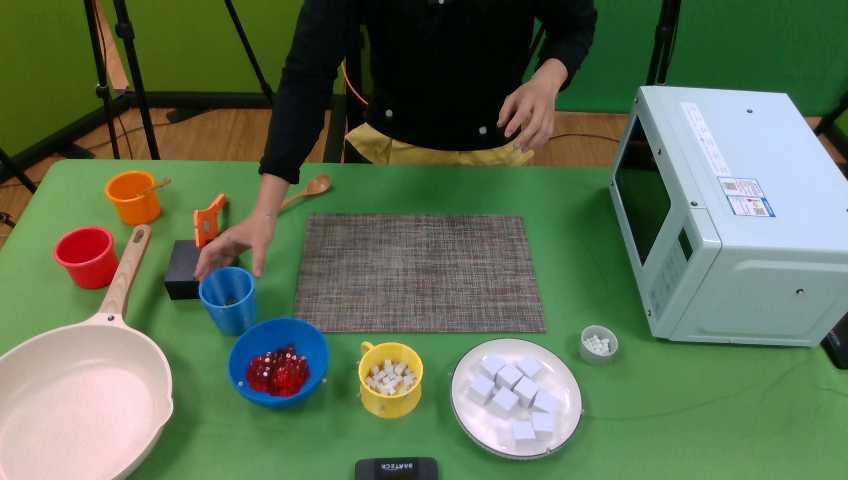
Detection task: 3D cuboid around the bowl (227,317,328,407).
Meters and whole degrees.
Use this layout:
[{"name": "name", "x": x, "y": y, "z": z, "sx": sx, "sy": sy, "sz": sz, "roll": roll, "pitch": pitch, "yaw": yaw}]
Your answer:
[{"name": "bowl", "x": -0.222, "y": 0.203, "z": 0.947, "sx": 0.151, "sy": 0.077, "sz": 0.150, "roll": 2, "pitch": 46, "yaw": -2}]

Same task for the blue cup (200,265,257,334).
[{"name": "blue cup", "x": -0.319, "y": 0.106, "z": 1.014, "sx": 0.093, "sy": 0.101, "sz": 0.092, "roll": 1, "pitch": 50, "yaw": -2}]

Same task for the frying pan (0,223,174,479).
[{"name": "frying pan", "x": -0.505, "y": 0.169, "z": 0.941, "sx": 0.307, "sy": 0.103, "sz": 0.485, "roll": 5, "pitch": 54, "yaw": -1}]

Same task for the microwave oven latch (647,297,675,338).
[{"name": "microwave oven latch", "x": 0.413, "y": 0.133, "z": 1.060, "sx": 0.030, "sy": 0.029, "sz": 0.078, "roll": 5, "pitch": 46, "yaw": 2}]

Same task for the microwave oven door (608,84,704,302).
[{"name": "microwave oven door", "x": 0.424, "y": -0.096, "z": 1.138, "sx": 0.039, "sy": 0.245, "sz": 0.353, "roll": 3, "pitch": 46, "yaw": -1}]

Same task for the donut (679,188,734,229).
[{"name": "donut", "x": 0.545, "y": -0.062, "z": 1.175, "sx": 0.099, "sy": 0.048, "sz": 0.098, "roll": 0, "pitch": 44, "yaw": 0}]

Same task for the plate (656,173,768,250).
[{"name": "plate", "x": 0.556, "y": -0.053, "z": 1.186, "sx": 0.209, "sy": 0.038, "sz": 0.208, "roll": 2, "pitch": 45, "yaw": -2}]

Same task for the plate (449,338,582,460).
[{"name": "plate", "x": 0.141, "y": 0.251, "z": 0.955, "sx": 0.208, "sy": 0.039, "sz": 0.206, "roll": 2, "pitch": 46, "yaw": -2}]

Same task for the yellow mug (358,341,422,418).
[{"name": "yellow mug", "x": -0.063, "y": 0.210, "z": 0.960, "sx": 0.100, "sy": 0.064, "sz": 0.130, "roll": -29, "pitch": 54, "yaw": -28}]

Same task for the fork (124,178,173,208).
[{"name": "fork", "x": -0.525, "y": -0.090, "z": 1.154, "sx": 0.207, "sy": 0.019, "sz": 0.028, "roll": -17, "pitch": 26, "yaw": 45}]

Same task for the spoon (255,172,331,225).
[{"name": "spoon", "x": -0.272, "y": -0.087, "z": 1.257, "sx": 0.041, "sy": 0.022, "sz": 0.193, "roll": 43, "pitch": 57, "yaw": 17}]

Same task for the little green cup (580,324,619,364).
[{"name": "little green cup", "x": 0.296, "y": 0.179, "z": 1.031, "sx": 0.061, "sy": 0.039, "sz": 0.061, "roll": 2, "pitch": 45, "yaw": -2}]

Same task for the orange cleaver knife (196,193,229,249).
[{"name": "orange cleaver knife", "x": -0.406, "y": -0.041, "z": 1.163, "sx": 0.012, "sy": 0.077, "sz": 0.210, "roll": 1, "pitch": 17, "yaw": -3}]

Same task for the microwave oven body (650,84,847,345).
[{"name": "microwave oven body", "x": 0.569, "y": -0.054, "z": 1.116, "sx": 0.326, "sy": 0.261, "sz": 0.439, "roll": 2, "pitch": 46, "yaw": -1}]
